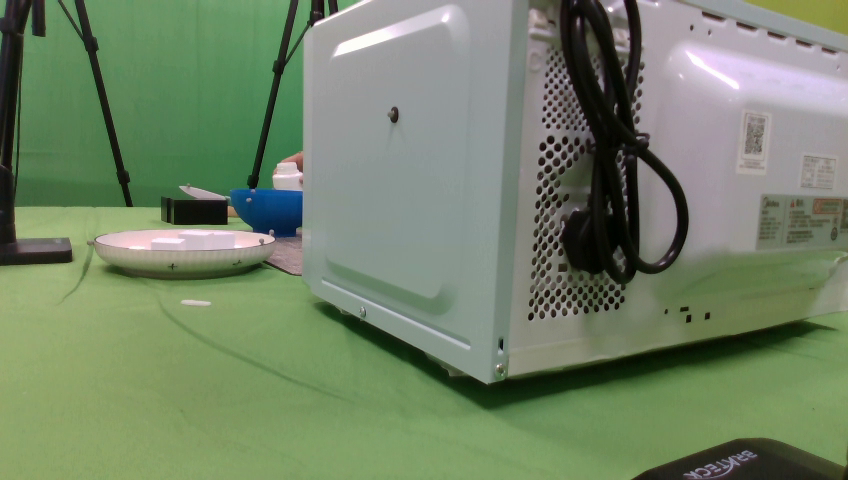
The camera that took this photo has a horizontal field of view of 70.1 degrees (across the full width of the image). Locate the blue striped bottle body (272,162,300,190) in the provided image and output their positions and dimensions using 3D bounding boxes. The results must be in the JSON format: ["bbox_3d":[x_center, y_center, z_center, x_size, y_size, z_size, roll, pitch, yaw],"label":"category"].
[{"bbox_3d":[-0.278,-0.100,1.250,0.063,0.121,0.063,-3,15,1],"label":"blue striped bottle body"}]

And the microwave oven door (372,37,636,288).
[{"bbox_3d":[0.109,-0.080,0.686,0.358,0.243,0.039,-2,9,-33],"label":"microwave oven door"}]

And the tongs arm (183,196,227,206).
[{"bbox_3d":[-0.404,-0.081,1.479,0.385,0.026,0.050,3,8,-2],"label":"tongs arm"}]

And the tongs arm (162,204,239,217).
[{"bbox_3d":[-0.396,-0.066,1.399,0.389,0.028,0.028,1,5,-15],"label":"tongs arm"}]

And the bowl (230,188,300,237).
[{"bbox_3d":[-0.264,-0.048,1.065,0.151,0.077,0.151,3,8,0],"label":"bowl"}]

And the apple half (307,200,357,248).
[{"bbox_3d":[-0.135,-0.024,0.941,0.053,0.074,0.081,13,9,39],"label":"apple half"}]

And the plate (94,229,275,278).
[{"bbox_3d":[-0.291,0.016,0.750,0.208,0.039,0.207,2,7,0],"label":"plate"}]

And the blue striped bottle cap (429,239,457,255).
[{"bbox_3d":[0.029,0.010,0.946,0.044,0.020,0.044,0,5,0],"label":"blue striped bottle cap"}]

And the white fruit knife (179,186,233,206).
[{"bbox_3d":[-0.413,-0.081,1.270,0.208,0.027,0.016,17,13,-41],"label":"white fruit knife"}]

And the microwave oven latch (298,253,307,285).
[{"bbox_3d":[-0.081,0.027,0.582,0.079,0.029,0.030,-2,7,-32],"label":"microwave oven latch"}]

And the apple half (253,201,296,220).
[{"bbox_3d":[-0.264,-0.053,1.066,0.081,0.033,0.081,1,8,0],"label":"apple half"}]

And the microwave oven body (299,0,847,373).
[{"bbox_3d":[0.152,-0.055,0.542,0.444,0.260,0.324,-2,7,-33],"label":"microwave oven body"}]
